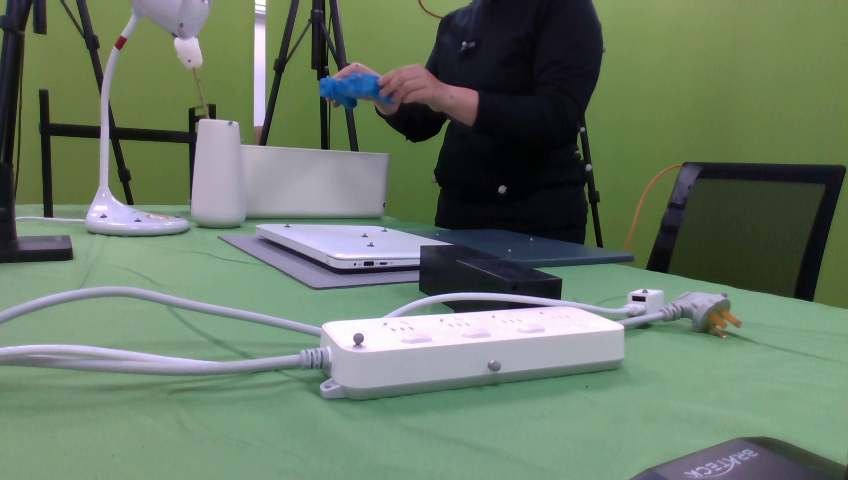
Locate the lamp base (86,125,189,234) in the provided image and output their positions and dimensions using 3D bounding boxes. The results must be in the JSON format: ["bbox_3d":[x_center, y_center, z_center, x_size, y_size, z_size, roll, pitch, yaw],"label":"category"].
[{"bbox_3d":[-0.497,-0.105,1.027,0.179,0.180,0.160,1,7,2],"label":"lamp base"}]

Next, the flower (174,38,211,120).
[{"bbox_3d":[-0.401,-0.207,1.141,0.038,0.361,0.044,-14,3,44],"label":"flower"}]

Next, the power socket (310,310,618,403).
[{"bbox_3d":[0.033,0.074,0.415,0.228,0.032,0.072,-1,8,-24],"label":"power socket"}]

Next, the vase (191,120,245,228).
[{"bbox_3d":[-0.389,-0.124,1.142,0.098,0.200,0.098,3,9,0],"label":"vase"}]

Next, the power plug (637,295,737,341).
[{"bbox_3d":[0.235,0.077,0.535,0.072,0.035,0.052,-33,40,-5],"label":"power plug"}]

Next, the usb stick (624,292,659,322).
[{"bbox_3d":[0.211,0.064,0.580,0.021,0.027,0.059,-2,-4,36],"label":"usb stick"}]

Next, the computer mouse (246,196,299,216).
[{"bbox_3d":[-0.346,-0.077,1.380,0.118,0.041,0.062,-8,15,-28],"label":"computer mouse"}]

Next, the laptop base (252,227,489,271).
[{"bbox_3d":[-0.096,0.012,0.911,0.237,0.023,0.352,2,7,-32],"label":"laptop base"}]

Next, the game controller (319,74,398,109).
[{"bbox_3d":[-0.129,-0.287,1.151,0.098,0.051,0.154,3,2,-44],"label":"game controller"}]

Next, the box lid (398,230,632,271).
[{"bbox_3d":[0.140,0.012,1.045,0.265,0.015,0.369,-1,8,-32],"label":"box lid"}]

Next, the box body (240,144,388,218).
[{"bbox_3d":[-0.297,-0.143,1.474,0.366,0.160,0.253,-1,9,-30],"label":"box body"}]

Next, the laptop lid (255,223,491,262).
[{"bbox_3d":[-0.093,0.000,0.911,0.243,0.013,0.355,1,7,-30],"label":"laptop lid"}]

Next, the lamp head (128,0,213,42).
[{"bbox_3d":[-0.423,-0.394,0.980,0.123,0.112,0.112,20,7,-3],"label":"lamp head"}]
